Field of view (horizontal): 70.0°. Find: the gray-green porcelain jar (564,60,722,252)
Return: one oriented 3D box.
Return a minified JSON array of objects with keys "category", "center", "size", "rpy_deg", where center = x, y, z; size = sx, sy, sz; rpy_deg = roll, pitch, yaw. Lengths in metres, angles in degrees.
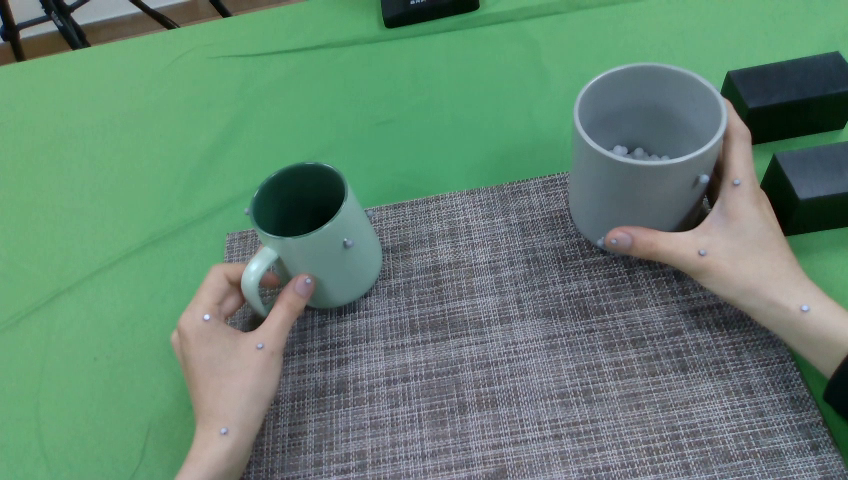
[{"category":"gray-green porcelain jar","center":[0.166,-0.059,0.482],"size":[0.106,0.128,0.105],"rpy_deg":[-5,55,7]}]

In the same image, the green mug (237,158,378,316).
[{"category":"green mug","center":[-0.101,0.008,0.499],"size":[0.092,0.106,0.125],"rpy_deg":[26,64,25]}]
